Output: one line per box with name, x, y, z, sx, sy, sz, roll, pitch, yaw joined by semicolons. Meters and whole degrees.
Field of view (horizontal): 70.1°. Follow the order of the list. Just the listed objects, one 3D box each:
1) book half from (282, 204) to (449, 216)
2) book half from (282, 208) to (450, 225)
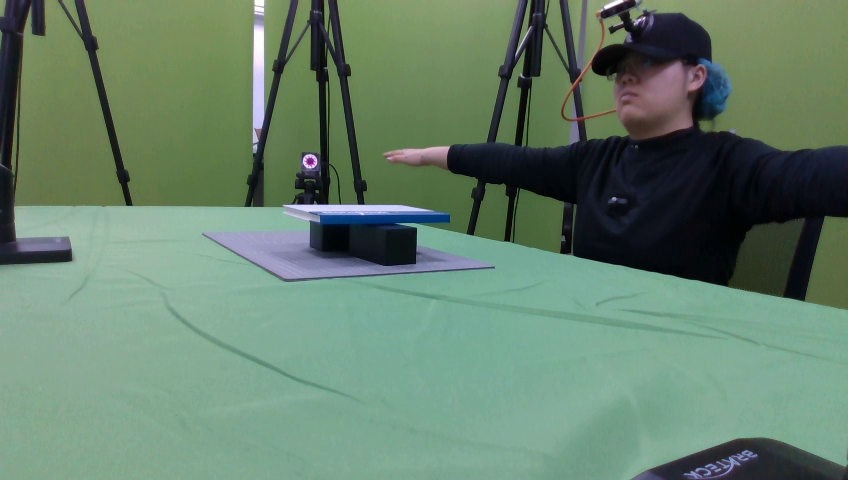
book half;-0.088;-0.045;0.907;0.211;0.007;0.142;-2;9;-32
book half;-0.086;-0.037;0.905;0.211;0.016;0.148;-1;9;-32
